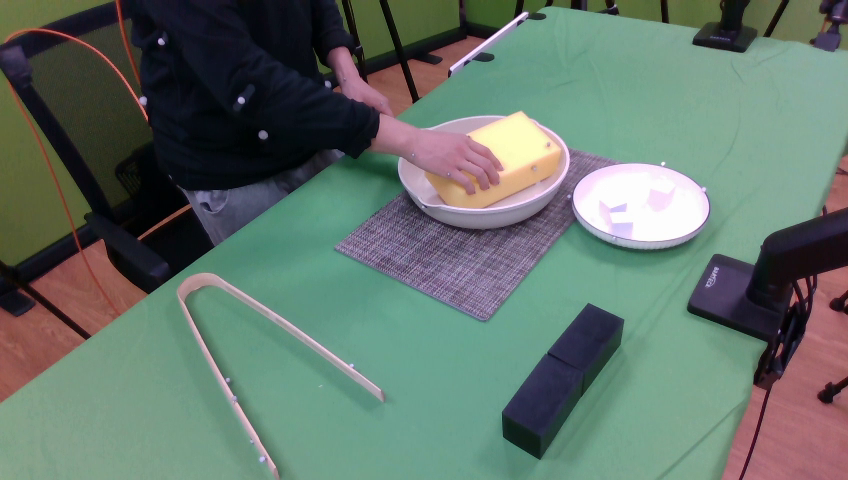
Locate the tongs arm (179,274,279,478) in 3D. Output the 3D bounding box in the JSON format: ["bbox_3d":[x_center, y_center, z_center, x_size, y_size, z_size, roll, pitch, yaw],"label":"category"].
[{"bbox_3d":[-0.260,0.161,0.807,0.051,0.026,0.381,-28,44,-25],"label":"tongs arm"}]

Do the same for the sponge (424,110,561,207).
[{"bbox_3d":[0.116,-0.134,1.037,0.208,0.061,0.117,-26,57,-20],"label":"sponge"}]

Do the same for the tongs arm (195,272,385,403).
[{"bbox_3d":[-0.198,0.126,0.847,0.384,0.028,0.028,25,52,32],"label":"tongs arm"}]

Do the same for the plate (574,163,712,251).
[{"bbox_3d":[0.344,-0.050,0.966,0.207,0.039,0.206,-4,40,4],"label":"plate"}]

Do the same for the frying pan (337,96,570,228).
[{"bbox_3d":[0.023,-0.167,1.090,0.484,0.103,0.308,32,52,26],"label":"frying pan"}]
